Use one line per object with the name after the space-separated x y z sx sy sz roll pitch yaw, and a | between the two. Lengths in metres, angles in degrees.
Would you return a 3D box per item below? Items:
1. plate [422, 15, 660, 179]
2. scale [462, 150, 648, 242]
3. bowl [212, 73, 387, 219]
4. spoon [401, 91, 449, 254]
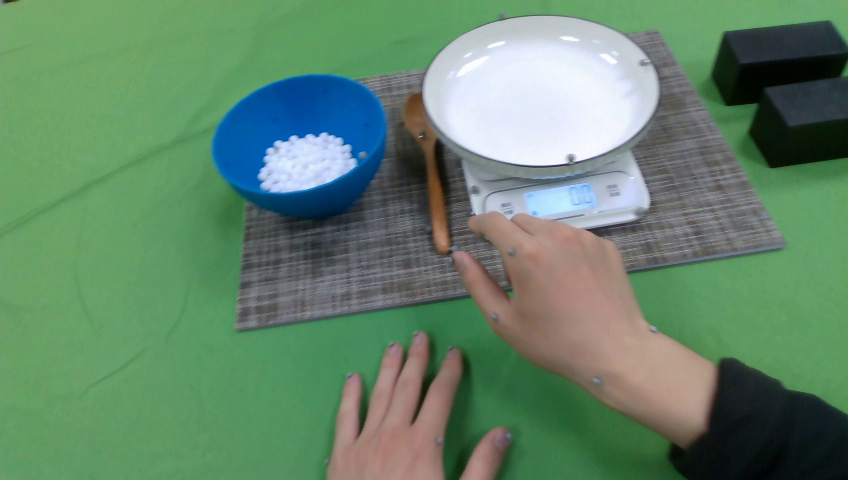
0.102 -0.129 0.548 0.209 0.038 0.207 -3 53 4 | plate
0.108 -0.091 0.560 0.149 0.032 0.199 -9 53 1 | scale
-0.102 -0.072 0.544 0.151 0.077 0.150 -3 53 5 | bowl
0.005 -0.069 0.562 0.042 0.022 0.191 1 52 -11 | spoon
